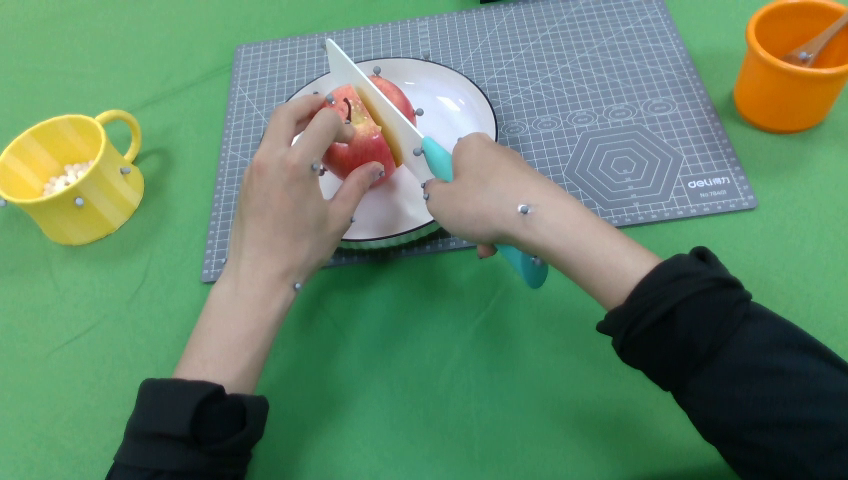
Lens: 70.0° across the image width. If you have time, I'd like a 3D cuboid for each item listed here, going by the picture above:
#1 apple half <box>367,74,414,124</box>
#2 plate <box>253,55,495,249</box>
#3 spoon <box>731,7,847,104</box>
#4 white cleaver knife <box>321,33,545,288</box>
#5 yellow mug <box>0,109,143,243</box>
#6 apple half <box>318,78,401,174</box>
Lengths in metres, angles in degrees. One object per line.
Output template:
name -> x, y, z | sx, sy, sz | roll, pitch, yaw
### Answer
apple half -> -0.029, -0.103, 0.509 | 0.033, 0.082, 0.080 | -30, 58, -19
plate -> -0.042, -0.077, 0.527 | 0.209, 0.038, 0.207 | -4, 57, 6
spoon -> 0.331, -0.174, 0.469 | 0.022, 0.194, 0.041 | 18, 46, -32
white cleaver knife -> -0.005, -0.067, 0.461 | 0.021, 0.066, 0.283 | -30, 59, -16
yellow mug -> -0.308, -0.068, 0.547 | 0.099, 0.064, 0.130 | 23, 63, 21
apple half -> -0.054, -0.084, 0.496 | 0.080, 0.075, 0.053 | 41, 89, 17
